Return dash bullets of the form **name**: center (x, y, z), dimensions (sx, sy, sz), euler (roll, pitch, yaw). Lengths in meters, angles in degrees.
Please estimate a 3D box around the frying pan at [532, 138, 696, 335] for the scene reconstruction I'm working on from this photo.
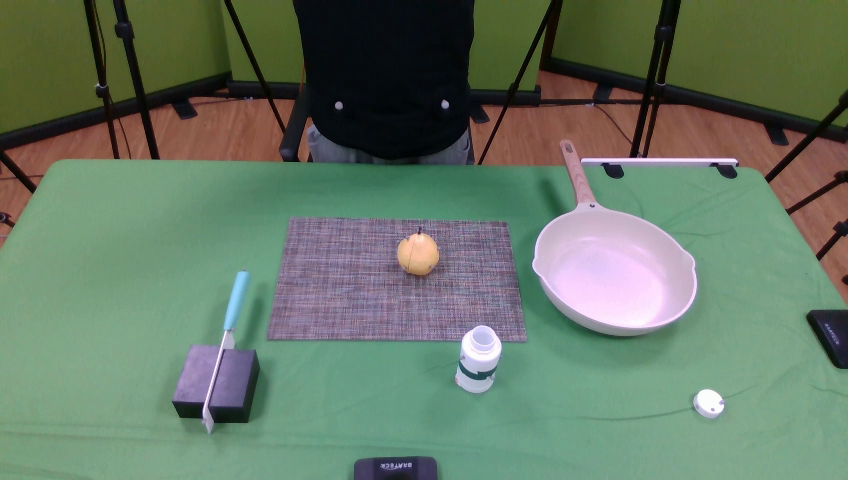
- **frying pan**: center (0.336, -0.024, 1.190), dimensions (0.307, 0.103, 0.484), euler (-2, 55, -7)

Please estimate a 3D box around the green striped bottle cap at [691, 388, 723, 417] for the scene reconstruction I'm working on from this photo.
- **green striped bottle cap**: center (0.460, 0.263, 0.984), dimensions (0.044, 0.020, 0.044), euler (3, 47, -3)

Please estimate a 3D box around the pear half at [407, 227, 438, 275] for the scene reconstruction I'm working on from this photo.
- **pear half**: center (0.000, 0.016, 1.117), dimensions (0.056, 0.110, 0.076), euler (5, 51, 0)

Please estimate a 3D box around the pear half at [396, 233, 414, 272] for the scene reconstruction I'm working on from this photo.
- **pear half**: center (-0.036, 0.019, 1.125), dimensions (0.031, 0.088, 0.070), euler (5, 50, -1)

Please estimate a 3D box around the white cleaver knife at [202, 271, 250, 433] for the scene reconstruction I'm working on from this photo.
- **white cleaver knife**: center (-0.322, 0.168, 0.980), dimensions (0.021, 0.066, 0.284), euler (7, 48, -6)

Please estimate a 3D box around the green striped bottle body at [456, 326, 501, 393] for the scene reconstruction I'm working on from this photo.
- **green striped bottle body**: center (0.086, 0.185, 0.959), dimensions (0.063, 0.120, 0.063), euler (2, 46, -2)
